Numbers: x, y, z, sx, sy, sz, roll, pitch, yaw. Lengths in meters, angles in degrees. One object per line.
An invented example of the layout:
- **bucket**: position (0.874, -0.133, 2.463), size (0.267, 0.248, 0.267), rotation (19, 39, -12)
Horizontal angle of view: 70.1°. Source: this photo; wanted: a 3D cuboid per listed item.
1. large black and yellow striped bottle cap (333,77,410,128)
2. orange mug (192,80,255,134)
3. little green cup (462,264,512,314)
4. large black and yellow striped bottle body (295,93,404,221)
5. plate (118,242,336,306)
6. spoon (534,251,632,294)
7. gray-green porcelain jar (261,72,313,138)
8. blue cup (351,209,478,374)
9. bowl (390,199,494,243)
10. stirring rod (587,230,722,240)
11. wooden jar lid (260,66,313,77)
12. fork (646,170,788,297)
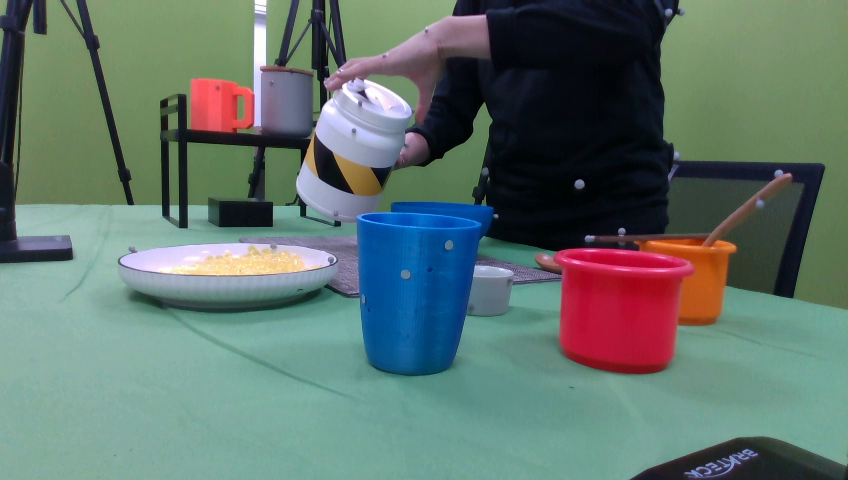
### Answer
- **large black and yellow striped bottle cap**: position (-0.075, -0.201, 0.878), size (0.115, 0.019, 0.115), rotation (21, 31, -13)
- **orange mug**: position (-0.389, -0.257, 1.173), size (0.126, 0.100, 0.083), rotation (-1, 7, 9)
- **little green cup**: position (0.053, 0.047, 0.580), size (0.061, 0.038, 0.061), rotation (3, 8, 0)
- **large black and yellow striped bottle body**: position (-0.109, -0.136, 0.918), size (0.131, 0.183, 0.130), rotation (20, 31, -12)
- **plate**: position (-0.194, 0.033, 0.615), size (0.209, 0.038, 0.209), rotation (2, 7, 0)
- **spoon**: position (0.193, 0.038, 0.753), size (0.042, 0.021, 0.193), rotation (14, 2, -20)
- **gray-green porcelain jar**: position (-0.284, -0.276, 1.253), size (0.106, 0.126, 0.106), rotation (2, 8, 0)
- **blue cup**: position (-0.009, 0.034, 0.414), size (0.093, 0.100, 0.092), rotation (4, 9, 0)
- **bowl**: position (0.024, -0.016, 0.872), size (0.151, 0.077, 0.151), rotation (3, 8, 0)
- **stirring rod**: position (0.227, -0.005, 0.585), size (0.177, 0.006, 0.014), rotation (-2, 7, -28)
- **wooden jar lid**: position (-0.283, -0.339, 1.244), size (0.108, 0.020, 0.108), rotation (5, 9, 0)
- **fork**: position (0.256, 0.004, 0.543), size (0.028, 0.018, 0.207), rotation (3, -36, -9)
